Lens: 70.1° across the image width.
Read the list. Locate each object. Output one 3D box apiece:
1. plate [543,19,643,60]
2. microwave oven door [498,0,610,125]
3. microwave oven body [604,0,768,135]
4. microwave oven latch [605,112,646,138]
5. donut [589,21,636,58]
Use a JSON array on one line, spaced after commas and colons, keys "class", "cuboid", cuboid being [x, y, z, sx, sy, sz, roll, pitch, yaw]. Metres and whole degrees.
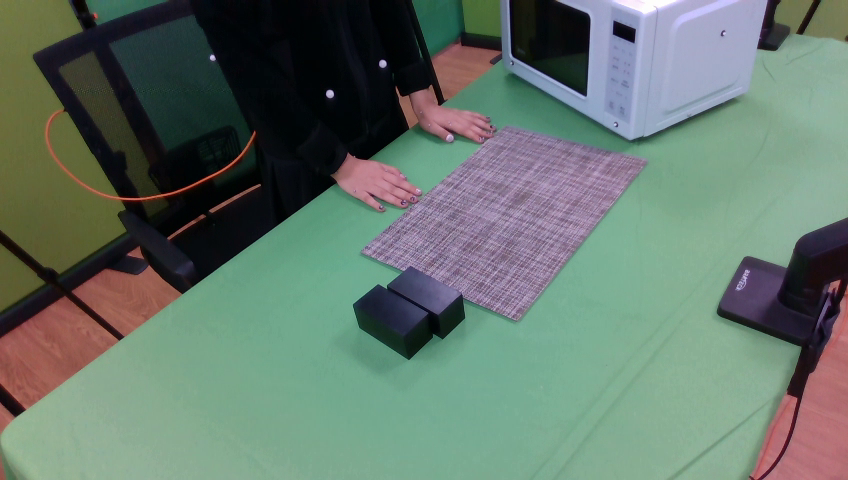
[{"class": "plate", "cuboid": [0.359, -0.426, 1.292, 0.209, 0.038, 0.208, 0, 35, 1]}, {"class": "microwave oven door", "cuboid": [0.261, -0.410, 1.219, 0.039, 0.245, 0.352, -24, 42, -17]}, {"class": "microwave oven body", "cuboid": [0.411, -0.441, 1.235, 0.327, 0.261, 0.437, -25, 42, -16]}, {"class": "microwave oven latch", "cuboid": [0.375, -0.217, 1.130, 0.030, 0.029, 0.078, -25, 42, -16]}, {"class": "donut", "cuboid": [0.402, -0.429, 1.295, 0.099, 0.048, 0.098, 2, 52, -2]}]
